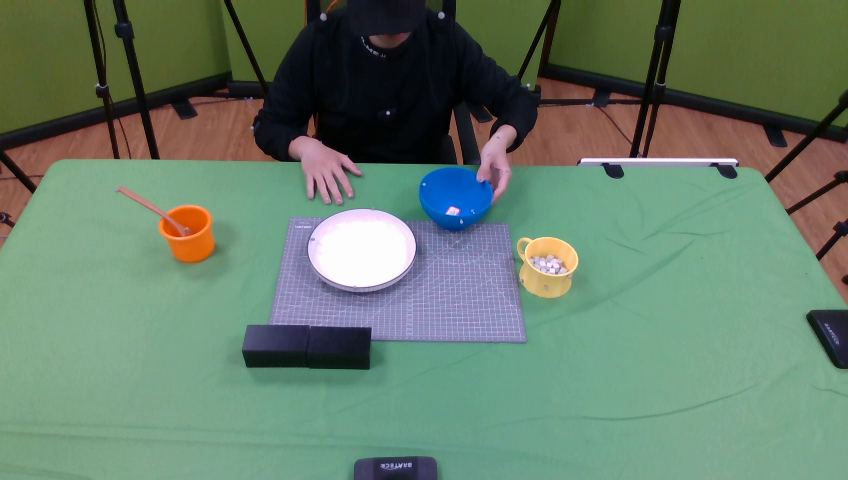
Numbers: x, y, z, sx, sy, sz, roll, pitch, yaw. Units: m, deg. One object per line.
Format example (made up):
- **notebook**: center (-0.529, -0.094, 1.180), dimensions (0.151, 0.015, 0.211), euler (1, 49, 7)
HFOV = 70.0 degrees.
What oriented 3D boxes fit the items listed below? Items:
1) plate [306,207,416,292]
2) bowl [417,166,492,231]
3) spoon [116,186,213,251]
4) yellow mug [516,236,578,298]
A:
- **plate**: center (-0.119, 0.021, 1.153), dimensions (0.209, 0.038, 0.208), euler (2, 46, -2)
- **bowl**: center (0.059, -0.072, 1.229), dimensions (0.151, 0.077, 0.150), euler (3, 46, -2)
- **spoon**: center (-0.474, -0.041, 1.112), dimensions (0.021, 0.195, 0.041), euler (-31, 31, 29)
- **yellow mug**: center (0.223, 0.041, 1.145), dimensions (0.100, 0.064, 0.130), euler (-30, 55, -29)
